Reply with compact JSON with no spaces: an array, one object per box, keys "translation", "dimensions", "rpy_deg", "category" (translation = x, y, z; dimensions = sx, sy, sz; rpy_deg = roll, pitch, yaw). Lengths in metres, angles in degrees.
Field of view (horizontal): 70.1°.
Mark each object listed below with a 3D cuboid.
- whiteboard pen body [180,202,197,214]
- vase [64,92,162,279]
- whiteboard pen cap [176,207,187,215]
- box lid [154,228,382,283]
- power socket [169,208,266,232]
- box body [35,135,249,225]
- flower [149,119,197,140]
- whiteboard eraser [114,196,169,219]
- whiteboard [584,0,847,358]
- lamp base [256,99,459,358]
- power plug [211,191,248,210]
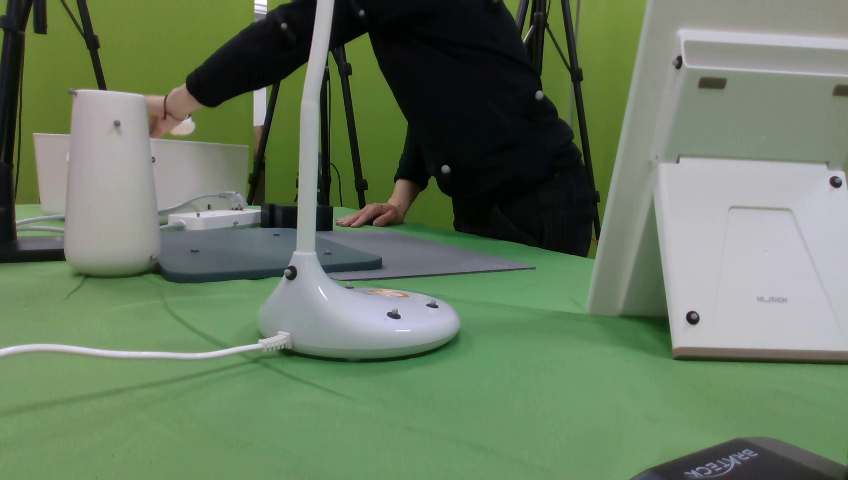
[{"translation":[-0.519,-0.069,1.331],"dimensions":[0.017,0.017,0.140],"rpy_deg":[1,10,-11],"category":"whiteboard pen body"},{"translation":[-0.348,-0.060,0.673],"dimensions":[0.098,0.200,0.098],"rpy_deg":[1,7,0],"category":"vase"},{"translation":[-0.511,-0.062,1.274],"dimensions":[0.018,0.018,0.033],"rpy_deg":[1,9,-10],"category":"whiteboard pen cap"},{"translation":[-0.250,0.014,0.853],"dimensions":[0.265,0.015,0.369],"rpy_deg":[-3,9,-32],"category":"box lid"},{"translation":[-0.379,-0.038,1.129],"dimensions":[0.072,0.032,0.227],"rpy_deg":[4,8,18],"category":"power socket"},{"translation":[-0.561,-0.127,1.258],"dimensions":[0.254,0.160,0.365],"rpy_deg":[4,8,13],"category":"box body"},{"translation":[-0.591,-0.197,1.251],"dimensions":[0.044,0.038,0.362],"rpy_deg":[28,28,3],"category":"flower"},{"translation":[-0.546,-0.063,1.174],"dimensions":[0.055,0.042,0.112],"rpy_deg":[4,5,4],"category":"whiteboard eraser"},{"translation":[0.269,-0.034,0.466],"dimensions":[0.217,0.305,0.143],"rpy_deg":[2,27,-1],"category":"whiteboard"},{"translation":[-0.055,-0.013,0.463],"dimensions":[0.160,0.180,0.180],"rpy_deg":[6,11,27],"category":"lamp base"},{"translation":[-0.384,-0.071,1.206],"dimensions":[0.072,0.052,0.035],"rpy_deg":[1,8,27],"category":"power plug"}]
